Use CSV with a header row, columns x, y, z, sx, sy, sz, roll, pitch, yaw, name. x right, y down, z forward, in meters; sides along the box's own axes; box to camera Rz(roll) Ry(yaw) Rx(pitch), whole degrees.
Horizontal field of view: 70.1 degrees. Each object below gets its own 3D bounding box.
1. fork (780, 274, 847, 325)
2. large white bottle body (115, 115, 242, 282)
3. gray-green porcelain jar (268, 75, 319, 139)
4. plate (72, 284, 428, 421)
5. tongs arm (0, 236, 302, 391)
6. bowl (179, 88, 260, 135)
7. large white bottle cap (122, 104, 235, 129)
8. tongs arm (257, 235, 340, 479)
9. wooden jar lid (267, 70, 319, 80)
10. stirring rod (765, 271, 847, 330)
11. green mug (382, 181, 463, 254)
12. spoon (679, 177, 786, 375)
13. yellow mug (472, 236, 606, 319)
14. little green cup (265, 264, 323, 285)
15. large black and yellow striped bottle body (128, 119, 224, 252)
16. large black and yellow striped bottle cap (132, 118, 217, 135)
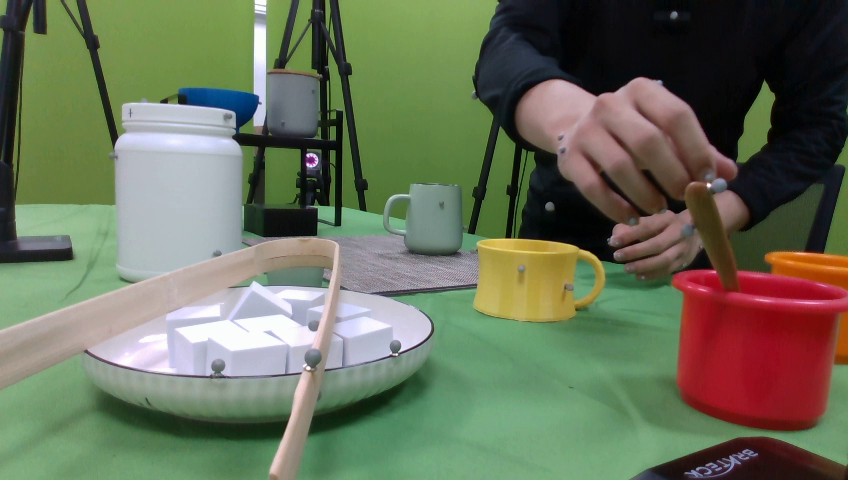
x,y,z,sx,sy,sz,roll,pitch,yaw,name
0.332,0.018,0.443,0.028,0.018,0.207,-2,-35,-16,fork
-0.270,-0.051,0.673,0.131,0.184,0.130,2,8,0,large white bottle body
-0.277,-0.278,1.280,0.106,0.126,0.106,2,8,0,gray-green porcelain jar
-0.102,0.067,0.381,0.208,0.039,0.207,2,7,0,plate
-0.157,0.037,0.347,0.028,0.028,0.388,-2,8,11,tongs arm
-0.400,-0.248,1.188,0.151,0.077,0.151,3,6,0,bowl
-0.266,-0.135,0.663,0.115,0.018,0.115,3,7,0,large white bottle cap
-0.074,0.040,0.345,0.051,0.026,0.384,-1,10,-3,tongs arm
-0.275,-0.339,1.271,0.108,0.020,0.108,5,6,0,wooden jar lid
0.352,0.020,0.481,0.176,0.006,0.014,-40,-7,17,stirring rod
-0.001,-0.036,0.922,0.126,0.105,0.092,0,8,-16,green mug
0.169,0.028,0.337,0.041,0.021,0.194,8,-35,43,spoon
0.114,0.034,0.590,0.131,0.064,0.100,2,6,-7,yellow mug
-0.134,0.034,0.628,0.061,0.038,0.061,3,7,0,little green cup
-0.361,-0.081,0.887,0.131,0.184,0.130,2,8,0,large black and yellow striped bottle body
-0.359,-0.164,0.875,0.115,0.019,0.115,2,6,0,large black and yellow striped bottle cap
